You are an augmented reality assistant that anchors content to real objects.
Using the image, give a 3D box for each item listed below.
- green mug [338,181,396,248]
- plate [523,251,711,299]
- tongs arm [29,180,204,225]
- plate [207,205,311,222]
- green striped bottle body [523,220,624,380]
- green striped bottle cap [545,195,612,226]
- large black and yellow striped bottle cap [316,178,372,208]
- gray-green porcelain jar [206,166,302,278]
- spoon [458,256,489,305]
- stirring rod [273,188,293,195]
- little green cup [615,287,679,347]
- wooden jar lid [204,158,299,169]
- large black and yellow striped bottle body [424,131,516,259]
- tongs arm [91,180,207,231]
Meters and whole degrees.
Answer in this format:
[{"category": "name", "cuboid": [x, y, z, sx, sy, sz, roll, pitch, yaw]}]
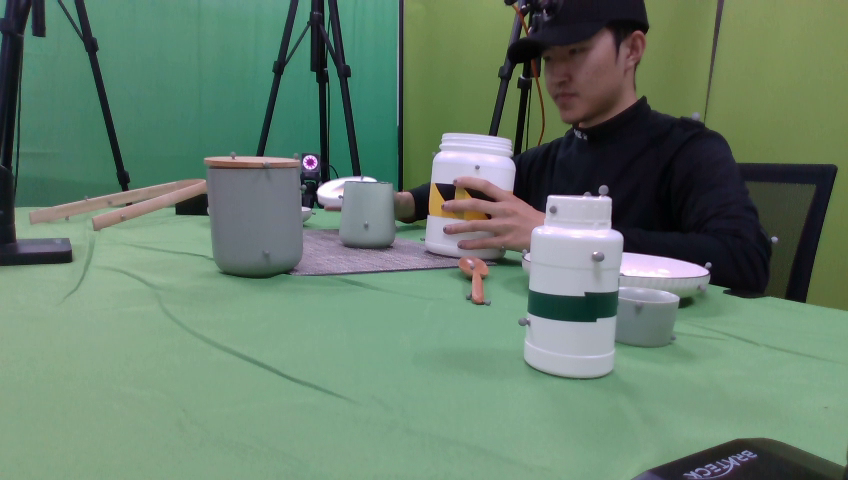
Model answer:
[{"category": "green mug", "cuboid": [-0.098, -0.044, 0.995, 0.093, 0.105, 0.125, -1, 8, -21]}, {"category": "plate", "cuboid": [0.219, 0.041, 0.706, 0.209, 0.038, 0.209, 2, 7, 0]}, {"category": "tongs arm", "cuboid": [-0.609, -0.083, 1.245, 0.050, 0.026, 0.386, 5, 16, 23]}, {"category": "plate", "cuboid": [-0.342, -0.050, 1.259, 0.208, 0.039, 0.207, 2, 7, 0]}, {"category": "green striped bottle body", "cuboid": [0.104, 0.031, 0.422, 0.063, 0.119, 0.063, 2, 8, 0]}, {"category": "green striped bottle cap", "cuboid": [0.106, -0.020, 0.415, 0.044, 0.020, 0.044, 2, 5, 0]}, {"category": "large black and yellow striped bottle cap", "cuboid": [-0.144, -0.090, 1.137, 0.115, 0.019, 0.115, -5, 25, 3]}, {"category": "gray-green porcelain jar", "cuboid": [-0.201, -0.024, 0.725, 0.106, 0.126, 0.106, -1, 9, 1]}, {"category": "spoon", "cuboid": [0.059, 0.044, 0.695, 0.041, 0.021, 0.194, 18, 7, 1]}, {"category": "stirring rod", "cuboid": [-0.353, -0.122, 1.518, 0.006, 0.014, 0.176, 2, 7, 2]}, {"category": "little green cup", "cuboid": [0.180, 0.064, 0.506, 0.061, 0.038, 0.061, 2, 8, 0]}, {"category": "wooden jar lid", "cuboid": [-0.202, -0.086, 0.714, 0.108, 0.020, 0.108, 3, 11, 0]}, {"category": "large black and yellow striped bottle body", "cuboid": [0.073, -0.069, 0.934, 0.131, 0.184, 0.130, 6, 5, 0]}, {"category": "tongs arm", "cuboid": [-0.534, -0.076, 1.221, 0.028, 0.028, 0.388, -2, 15, 12]}]
